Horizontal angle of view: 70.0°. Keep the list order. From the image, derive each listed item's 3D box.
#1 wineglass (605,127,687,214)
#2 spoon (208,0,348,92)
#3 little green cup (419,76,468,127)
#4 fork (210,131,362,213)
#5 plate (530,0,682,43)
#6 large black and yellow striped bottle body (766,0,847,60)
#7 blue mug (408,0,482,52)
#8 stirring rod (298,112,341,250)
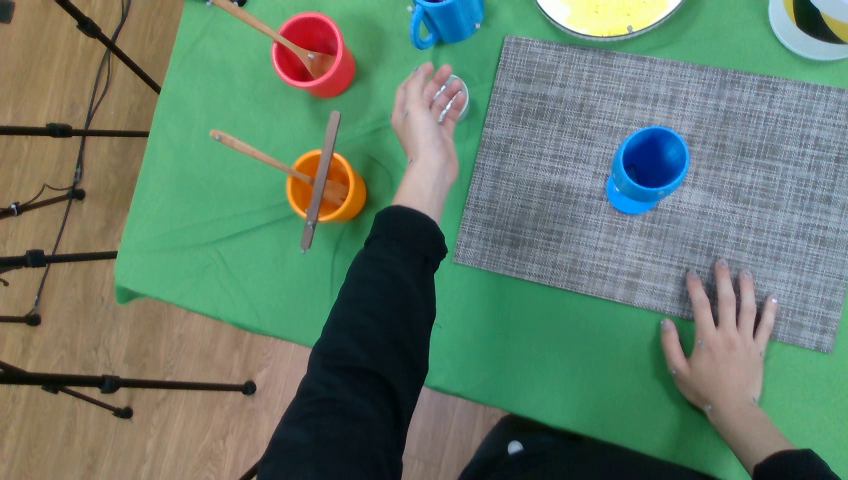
[{"bbox_3d":[0.235,-0.070,0.658,0.073,0.173,0.073,-1,85,13],"label":"wineglass"},{"bbox_3d":[-0.184,-0.253,0.781,0.195,0.021,0.041,28,94,-31],"label":"spoon"},{"bbox_3d":[0.028,-0.177,0.784,0.061,0.039,0.061,-1,87,13],"label":"little green cup"},{"bbox_3d":[-0.170,-0.085,0.764,0.209,0.018,0.028,26,99,-30],"label":"fork"},{"bbox_3d":[0.227,-0.343,0.752,0.208,0.038,0.208,-1,87,12],"label":"plate"},{"bbox_3d":[0.450,-0.280,0.624,0.130,0.184,0.130,-1,86,13],"label":"large black and yellow striped bottle body"},{"bbox_3d":[0.017,-0.291,0.759,0.082,0.106,0.116,34,94,13],"label":"blue mug"},{"bbox_3d":[-0.130,-0.073,0.752,0.014,0.006,0.176,13,88,14],"label":"stirring rod"}]
